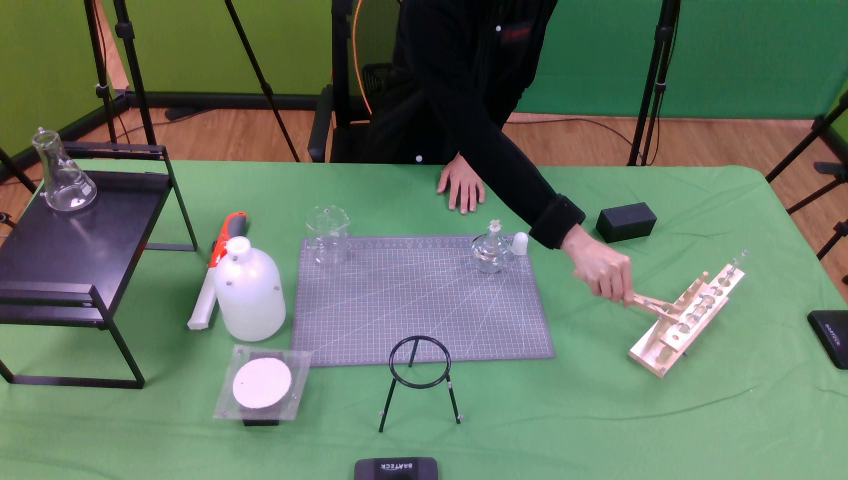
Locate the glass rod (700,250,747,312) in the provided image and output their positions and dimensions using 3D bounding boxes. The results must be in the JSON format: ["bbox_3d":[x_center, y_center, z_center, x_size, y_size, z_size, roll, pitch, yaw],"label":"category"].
[{"bbox_3d":[0.500,0.075,1.021,0.008,0.201,0.008,0,54,1],"label":"glass rod"}]

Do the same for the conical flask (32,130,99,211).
[{"bbox_3d":[-0.565,-0.111,0.944,0.075,0.122,0.075,2,46,-2],"label":"conical flask"}]

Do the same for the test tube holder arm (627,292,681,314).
[{"bbox_3d":[0.366,0.100,0.968,0.088,0.015,0.010,14,47,-1],"label":"test tube holder arm"}]

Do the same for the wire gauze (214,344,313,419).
[{"bbox_3d":[-0.241,0.213,0.915,0.121,0.011,0.124,5,46,1],"label":"wire gauze"}]

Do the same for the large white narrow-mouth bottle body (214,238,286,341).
[{"bbox_3d":[-0.285,0.073,0.986,0.102,0.195,0.101,2,46,-2],"label":"large white narrow-mouth bottle body"}]

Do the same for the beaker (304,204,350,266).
[{"bbox_3d":[-0.178,-0.006,1.132,0.084,0.101,0.073,4,46,-1],"label":"beaker"}]

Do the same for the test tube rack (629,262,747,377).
[{"bbox_3d":[0.464,0.126,1.061,0.242,0.085,0.066,-34,56,-31],"label":"test tube rack"}]

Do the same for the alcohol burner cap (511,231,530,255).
[{"bbox_3d":[0.191,0.003,1.188,0.034,0.048,0.033,3,46,-2],"label":"alcohol burner cap"}]

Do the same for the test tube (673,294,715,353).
[{"bbox_3d":[0.428,0.138,0.978,0.017,0.151,0.017,4,47,-4],"label":"test tube"}]

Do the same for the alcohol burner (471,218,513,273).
[{"bbox_3d":[0.128,0.005,1.132,0.078,0.120,0.077,0,47,0],"label":"alcohol burner"}]

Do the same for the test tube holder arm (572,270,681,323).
[{"bbox_3d":[0.322,0.089,0.968,0.178,0.015,0.013,23,47,8],"label":"test tube holder arm"}]

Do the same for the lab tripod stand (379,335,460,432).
[{"bbox_3d":[-0.011,0.214,0.912,0.148,0.132,0.147,1,45,0],"label":"lab tripod stand"}]

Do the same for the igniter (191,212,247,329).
[{"bbox_3d":[-0.376,0.047,1.121,0.057,0.025,0.275,-4,46,6],"label":"igniter"}]

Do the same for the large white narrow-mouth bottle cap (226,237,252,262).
[{"bbox_3d":[-0.282,0.014,0.923,0.038,0.024,0.037,2,46,-2],"label":"large white narrow-mouth bottle cap"}]
